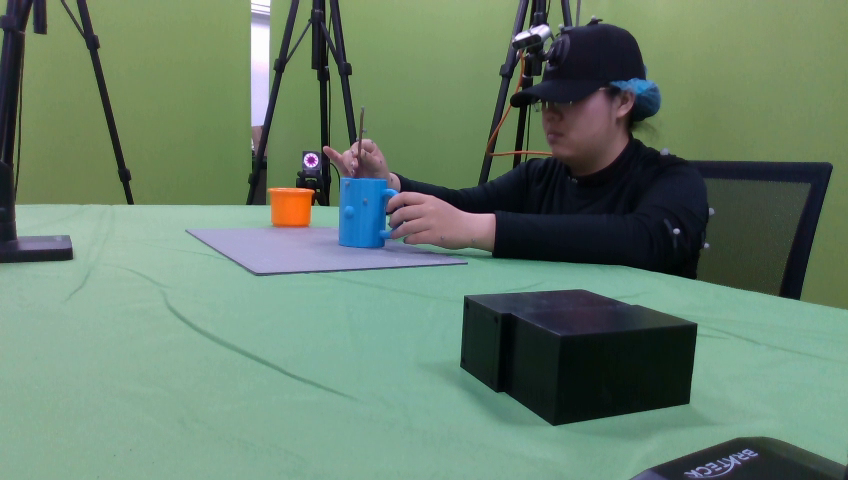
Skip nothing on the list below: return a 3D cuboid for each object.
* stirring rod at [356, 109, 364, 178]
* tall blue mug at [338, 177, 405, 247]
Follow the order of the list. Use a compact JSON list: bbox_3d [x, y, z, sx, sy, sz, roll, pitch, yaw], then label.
[{"bbox_3d":[-0.107,-0.125,0.989,0.006,0.176,0.014,4,6,-5],"label":"stirring rod"},{"bbox_3d":[-0.083,-0.045,0.973,0.107,0.108,0.078,2,6,0],"label":"tall blue mug"}]
